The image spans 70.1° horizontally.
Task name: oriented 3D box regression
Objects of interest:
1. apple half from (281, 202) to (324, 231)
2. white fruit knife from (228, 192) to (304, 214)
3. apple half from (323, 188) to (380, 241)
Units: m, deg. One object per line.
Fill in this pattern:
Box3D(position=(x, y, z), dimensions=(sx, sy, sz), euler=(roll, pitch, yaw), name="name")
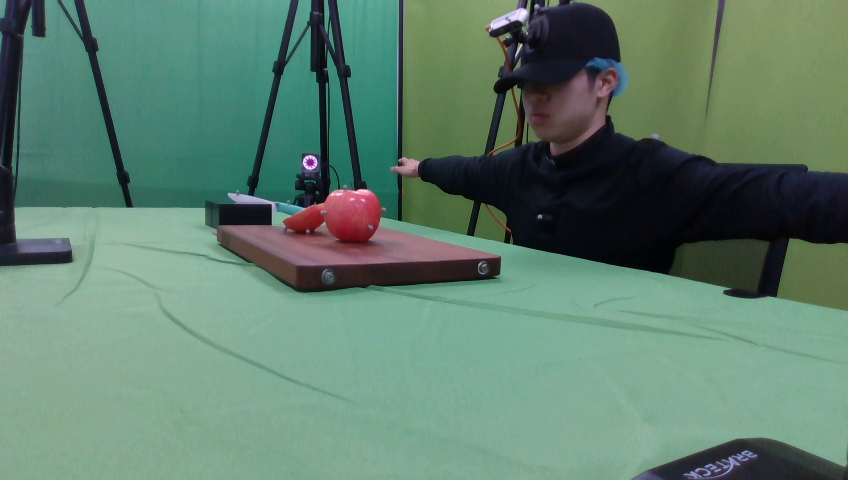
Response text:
Box3D(position=(-0.175, -0.033, 0.927), dimensions=(0.081, 0.033, 0.081), euler=(-21, 0, 1), name="apple half")
Box3D(position=(-0.302, -0.069, 1.242), dimensions=(0.208, 0.027, 0.016), euler=(14, 2, -37), name="white fruit knife")
Box3D(position=(-0.094, -0.034, 0.840), dimensions=(0.081, 0.074, 0.053), euler=(1, 10, -38), name="apple half")
